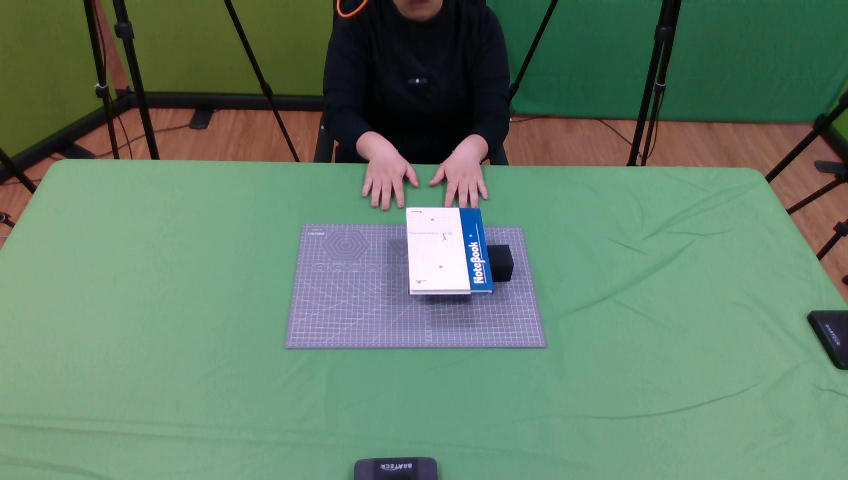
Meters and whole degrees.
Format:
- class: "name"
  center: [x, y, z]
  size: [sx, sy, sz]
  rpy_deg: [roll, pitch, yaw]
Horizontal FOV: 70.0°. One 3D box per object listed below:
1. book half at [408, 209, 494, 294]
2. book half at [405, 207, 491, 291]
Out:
- class: "book half"
  center: [0.042, 0.016, 1.119]
  size: [0.149, 0.016, 0.209]
  rpy_deg: [1, 46, -5]
- class: "book half"
  center: [0.039, 0.011, 1.113]
  size: [0.143, 0.007, 0.208]
  rpy_deg: [0, 46, -5]
